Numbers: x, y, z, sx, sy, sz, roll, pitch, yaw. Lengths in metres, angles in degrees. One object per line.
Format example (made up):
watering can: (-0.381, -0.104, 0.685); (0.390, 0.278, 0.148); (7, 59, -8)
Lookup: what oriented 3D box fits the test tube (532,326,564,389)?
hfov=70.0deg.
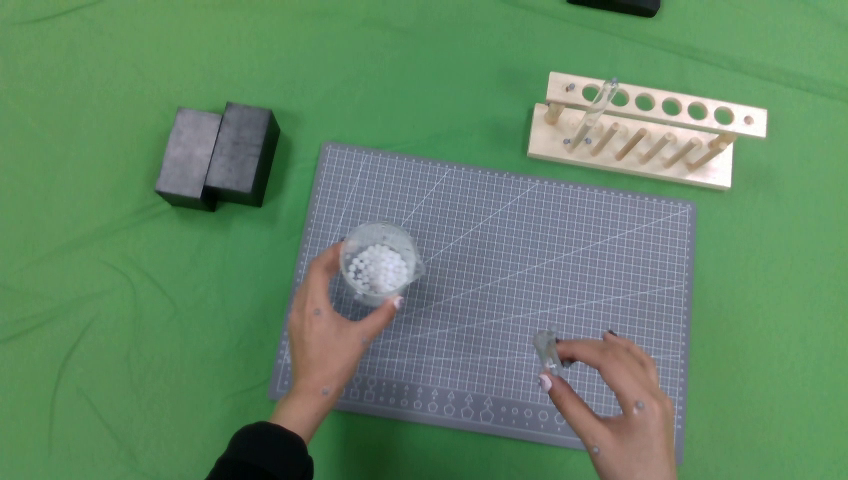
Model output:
test tube: (0.100, 0.096, 0.478); (0.017, 0.152, 0.017); (-6, 64, 13)

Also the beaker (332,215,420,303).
beaker: (-0.049, 0.024, 0.617); (0.084, 0.100, 0.073); (14, 76, -4)

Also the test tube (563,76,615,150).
test tube: (0.175, -0.132, 0.649); (0.017, 0.151, 0.017); (0, 75, -1)

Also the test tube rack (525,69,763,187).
test tube rack: (0.247, -0.126, 0.697); (0.242, 0.085, 0.066); (10, 76, 0)
